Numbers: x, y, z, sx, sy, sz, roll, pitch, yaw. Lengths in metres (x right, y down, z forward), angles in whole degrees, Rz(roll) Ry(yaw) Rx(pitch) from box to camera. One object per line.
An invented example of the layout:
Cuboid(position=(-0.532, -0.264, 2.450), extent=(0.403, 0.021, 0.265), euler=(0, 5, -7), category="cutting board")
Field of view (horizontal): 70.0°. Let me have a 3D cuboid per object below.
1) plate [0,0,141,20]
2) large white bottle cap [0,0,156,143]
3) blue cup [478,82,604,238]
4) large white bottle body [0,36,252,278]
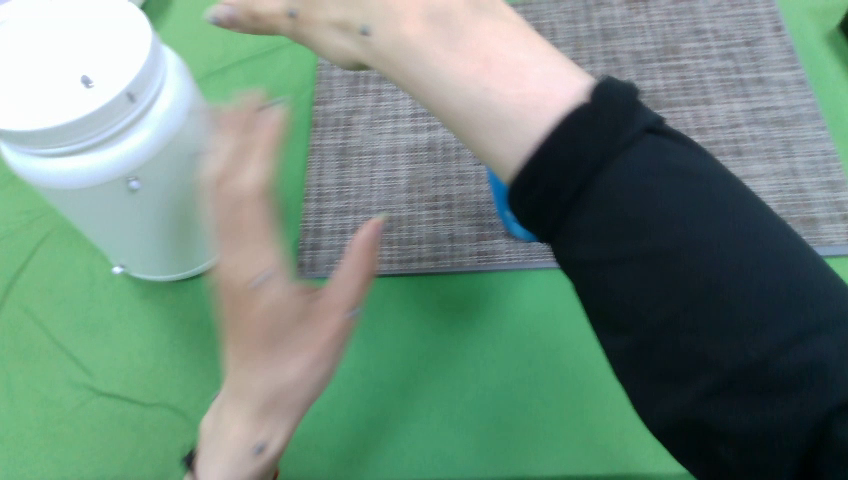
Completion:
Cuboid(position=(-0.397, -0.272, 0.662), extent=(0.207, 0.039, 0.206), euler=(-2, 61, 4), category="plate")
Cuboid(position=(-0.225, -0.109, 0.373), extent=(0.115, 0.018, 0.114), euler=(-2, 60, 4), category="large white bottle cap")
Cuboid(position=(0.085, -0.051, 0.455), extent=(0.092, 0.101, 0.092), euler=(-3, 60, 6), category="blue cup")
Cuboid(position=(-0.218, -0.066, 0.446), extent=(0.130, 0.186, 0.129), euler=(-2, 61, 4), category="large white bottle body")
